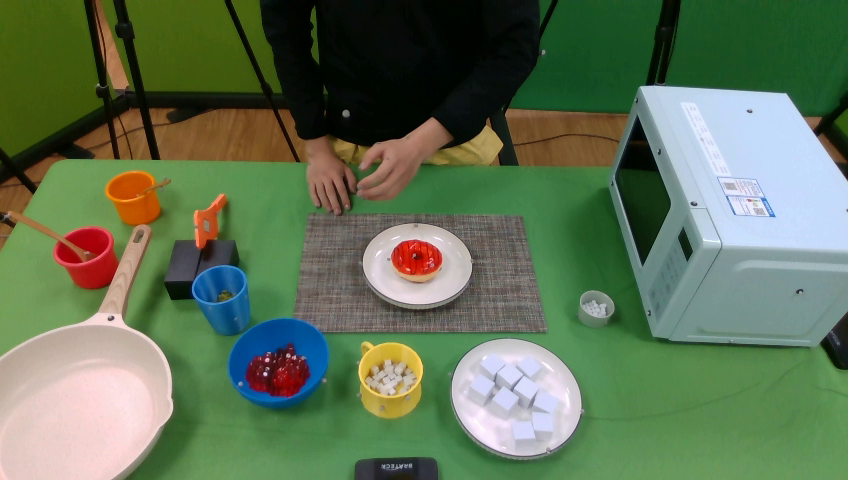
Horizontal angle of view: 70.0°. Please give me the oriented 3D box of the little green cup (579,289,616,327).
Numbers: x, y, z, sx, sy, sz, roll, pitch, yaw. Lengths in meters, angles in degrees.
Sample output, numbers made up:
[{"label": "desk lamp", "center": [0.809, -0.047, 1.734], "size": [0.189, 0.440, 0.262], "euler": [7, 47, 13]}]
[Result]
[{"label": "little green cup", "center": [0.308, 0.124, 1.086], "size": [0.061, 0.039, 0.061], "euler": [2, 45, -2]}]

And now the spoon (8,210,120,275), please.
[{"label": "spoon", "center": [-0.628, 0.002, 1.063], "size": [0.195, 0.021, 0.041], "euler": [40, 41, -27]}]

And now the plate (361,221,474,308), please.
[{"label": "plate", "center": [-0.011, 0.049, 1.130], "size": [0.209, 0.038, 0.208], "euler": [2, 46, -2]}]

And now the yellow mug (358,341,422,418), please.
[{"label": "yellow mug", "center": [-0.063, 0.210, 0.961], "size": [0.100, 0.064, 0.130], "euler": [-29, 54, -28]}]

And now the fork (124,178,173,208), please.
[{"label": "fork", "center": [-0.525, -0.089, 1.153], "size": [0.207, 0.019, 0.028], "euler": [-17, 27, 45]}]

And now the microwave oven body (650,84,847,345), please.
[{"label": "microwave oven body", "center": [0.569, -0.054, 1.116], "size": [0.326, 0.261, 0.439], "euler": [2, 46, -1]}]

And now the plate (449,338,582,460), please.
[{"label": "plate", "center": [0.141, 0.251, 0.955], "size": [0.208, 0.039, 0.206], "euler": [2, 46, -2]}]

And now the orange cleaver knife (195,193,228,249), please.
[{"label": "orange cleaver knife", "center": [-0.406, -0.041, 1.163], "size": [0.012, 0.077, 0.210], "euler": [0, 18, -4]}]

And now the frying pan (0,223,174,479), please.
[{"label": "frying pan", "center": [-0.505, 0.169, 0.941], "size": [0.307, 0.103, 0.485], "euler": [5, 54, -1]}]

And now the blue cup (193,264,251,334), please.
[{"label": "blue cup", "center": [-0.331, 0.105, 1.015], "size": [0.092, 0.101, 0.092], "euler": [1, 45, -1]}]

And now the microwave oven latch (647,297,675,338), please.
[{"label": "microwave oven latch", "center": [0.413, 0.133, 1.060], "size": [0.030, 0.029, 0.078], "euler": [5, 46, 2]}]

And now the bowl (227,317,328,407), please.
[{"label": "bowl", "center": [-0.222, 0.203, 0.947], "size": [0.151, 0.077, 0.150], "euler": [2, 46, -2]}]

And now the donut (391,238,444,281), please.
[{"label": "donut", "center": [-0.012, 0.035, 1.128], "size": [0.099, 0.048, 0.098], "euler": [3, 43, -3]}]

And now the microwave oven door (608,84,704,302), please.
[{"label": "microwave oven door", "center": [0.424, -0.096, 1.138], "size": [0.039, 0.245, 0.353], "euler": [2, 47, -1]}]
